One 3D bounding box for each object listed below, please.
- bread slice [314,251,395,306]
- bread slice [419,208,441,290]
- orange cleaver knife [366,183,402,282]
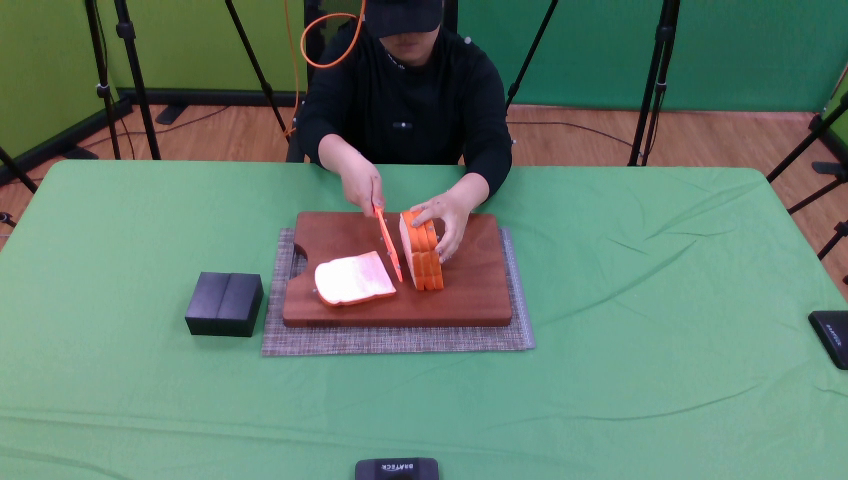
[{"bbox_3d":[-0.130,0.071,1.077,0.132,0.019,0.104,-11,49,-20],"label":"bread slice"},{"bbox_3d":[0.010,0.012,1.076,0.018,0.135,0.106,-11,50,-6],"label":"bread slice"},{"bbox_3d":[-0.072,-0.017,1.094,0.012,0.077,0.210,-16,50,-7],"label":"orange cleaver knife"}]
